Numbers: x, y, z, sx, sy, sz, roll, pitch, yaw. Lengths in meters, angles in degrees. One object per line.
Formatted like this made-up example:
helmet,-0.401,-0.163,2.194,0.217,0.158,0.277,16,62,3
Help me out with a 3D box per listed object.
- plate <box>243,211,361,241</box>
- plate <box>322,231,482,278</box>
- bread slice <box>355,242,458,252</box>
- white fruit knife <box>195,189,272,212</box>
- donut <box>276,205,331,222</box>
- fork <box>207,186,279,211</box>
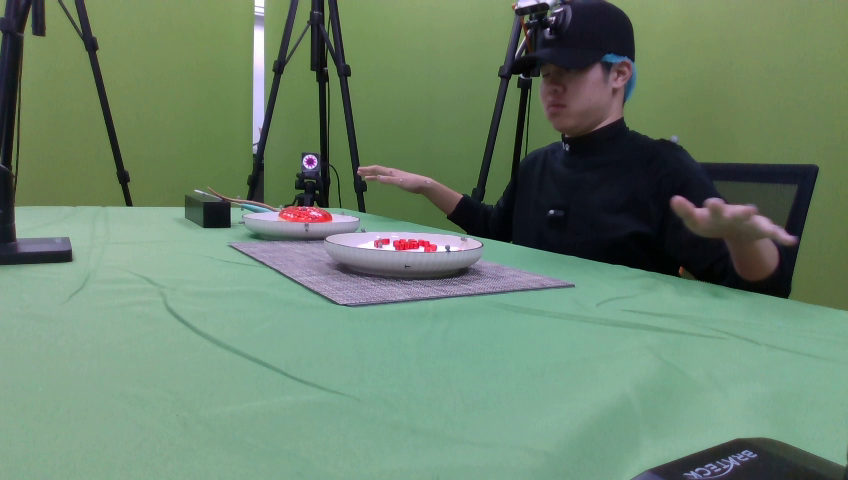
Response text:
plate,-0.219,-0.025,1.091,0.208,0.039,0.207,2,7,0
plate,-0.028,0.018,0.789,0.209,0.038,0.209,3,7,0
bread slice,-0.027,0.019,0.793,0.131,0.019,0.105,6,7,18
white fruit knife,-0.378,-0.073,1.270,0.208,0.016,0.027,18,-4,-32
donut,-0.218,-0.037,1.091,0.099,0.048,0.099,5,9,0
fork,-0.342,-0.070,1.244,0.208,0.018,0.028,18,-5,-24
